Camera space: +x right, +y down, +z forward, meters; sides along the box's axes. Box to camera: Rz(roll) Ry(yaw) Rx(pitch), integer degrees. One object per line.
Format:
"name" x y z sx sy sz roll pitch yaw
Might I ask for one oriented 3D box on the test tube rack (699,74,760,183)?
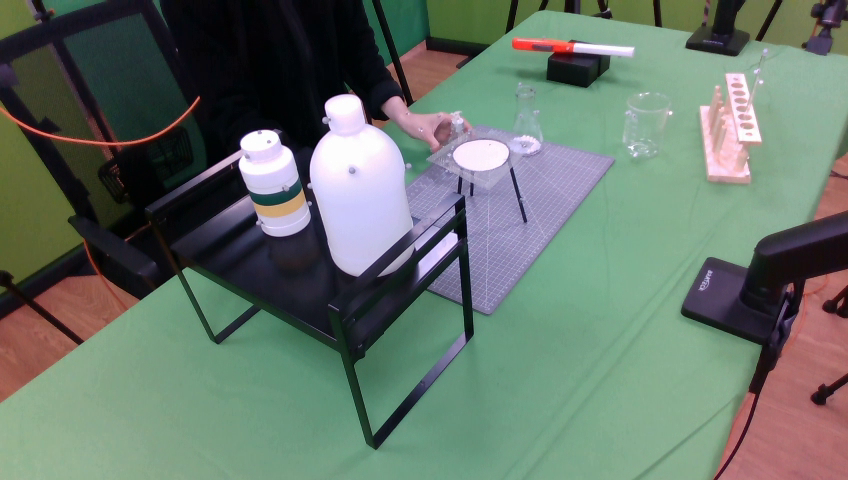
"test tube rack" 0.547 -0.208 1.095 0.066 0.085 0.242 6 42 16

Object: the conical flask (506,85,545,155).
"conical flask" 0.190 -0.227 1.134 0.075 0.122 0.075 -4 41 4

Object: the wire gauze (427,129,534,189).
"wire gauze" 0.086 -0.131 0.923 0.124 0.011 0.122 26 52 33

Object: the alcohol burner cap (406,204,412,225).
"alcohol burner cap" -0.037 -0.041 0.987 0.034 0.048 0.033 -1 47 1

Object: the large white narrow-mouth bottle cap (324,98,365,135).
"large white narrow-mouth bottle cap" -0.076 -0.120 0.585 0.038 0.024 0.037 -3 42 3

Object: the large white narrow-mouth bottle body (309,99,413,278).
"large white narrow-mouth bottle body" -0.069 -0.057 0.644 0.102 0.195 0.101 -3 42 4

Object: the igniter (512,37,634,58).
"igniter" 0.328 -0.433 1.361 0.275 0.025 0.057 12 33 20

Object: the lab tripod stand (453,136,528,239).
"lab tripod stand" 0.094 -0.086 0.974 0.148 0.132 0.147 -4 43 4

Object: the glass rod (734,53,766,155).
"glass rod" 0.540 -0.219 1.006 0.008 0.201 0.008 -5 45 6

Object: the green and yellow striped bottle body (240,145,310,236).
"green and yellow striped bottle body" -0.181 -0.068 0.729 0.063 0.120 0.063 -4 40 4

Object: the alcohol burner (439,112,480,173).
"alcohol burner" 0.064 -0.183 1.107 0.078 0.119 0.077 -4 43 4

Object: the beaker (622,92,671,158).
"beaker" 0.402 -0.210 1.106 0.074 0.101 0.083 -9 40 -2

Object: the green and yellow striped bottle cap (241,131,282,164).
"green and yellow striped bottle cap" -0.187 -0.107 0.695 0.045 0.020 0.045 -3 39 3
